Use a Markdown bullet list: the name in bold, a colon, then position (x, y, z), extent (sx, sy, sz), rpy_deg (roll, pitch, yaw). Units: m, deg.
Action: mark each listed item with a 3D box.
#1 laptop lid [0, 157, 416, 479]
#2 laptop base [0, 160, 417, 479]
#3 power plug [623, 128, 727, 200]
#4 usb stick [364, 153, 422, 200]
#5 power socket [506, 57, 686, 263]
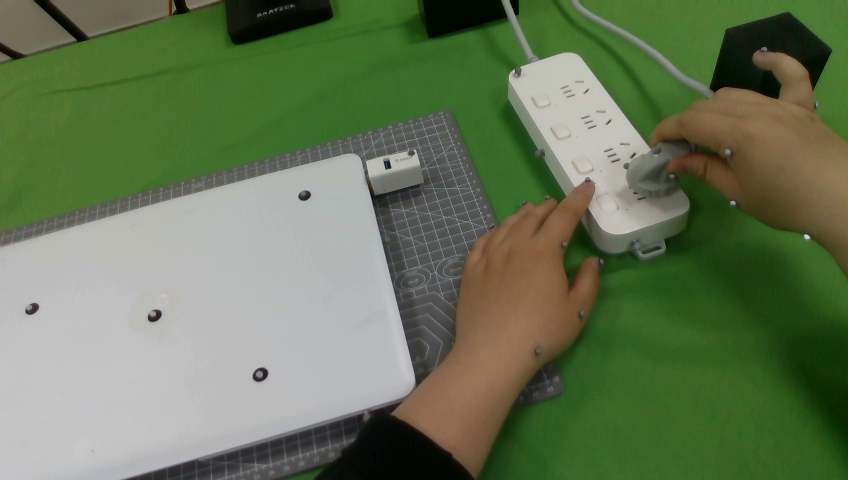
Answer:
- **laptop lid**: position (-0.199, 0.063, 0.457), extent (0.357, 0.013, 0.239), rpy_deg (-15, 55, -1)
- **laptop base**: position (-0.198, 0.068, 0.468), extent (0.354, 0.023, 0.233), rpy_deg (-16, 56, -2)
- **power plug**: position (0.183, -0.048, 0.440), extent (0.072, 0.053, 0.035), rpy_deg (-7, 58, 2)
- **usb stick**: position (-0.033, -0.052, 0.513), extent (0.059, 0.027, 0.021), rpy_deg (-17, 52, 1)
- **power socket**: position (0.136, -0.077, 0.509), extent (0.072, 0.033, 0.224), rpy_deg (-17, 53, -5)
